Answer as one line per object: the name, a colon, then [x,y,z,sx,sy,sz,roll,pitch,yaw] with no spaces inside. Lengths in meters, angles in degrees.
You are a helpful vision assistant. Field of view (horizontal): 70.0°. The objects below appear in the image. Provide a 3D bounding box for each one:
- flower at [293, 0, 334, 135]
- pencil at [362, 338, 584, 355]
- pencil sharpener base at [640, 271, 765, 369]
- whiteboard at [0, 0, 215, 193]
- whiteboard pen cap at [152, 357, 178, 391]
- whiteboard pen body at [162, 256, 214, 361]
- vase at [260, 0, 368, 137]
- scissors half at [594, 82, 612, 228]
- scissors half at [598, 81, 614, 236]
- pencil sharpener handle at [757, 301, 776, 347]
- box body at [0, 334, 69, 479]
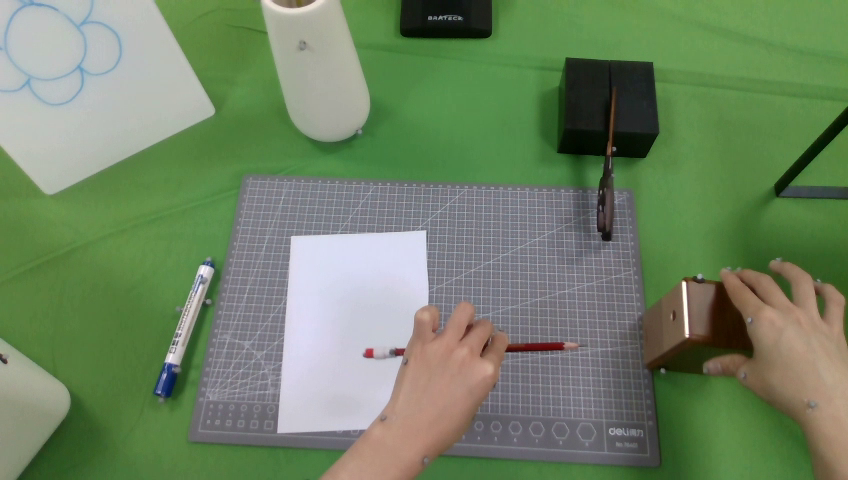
flower: [-0.126,-0.247,0.583,0.044,0.365,0.038,-4,48,3]
pencil: [0.039,0.091,0.527,0.194,0.012,0.012,-4,65,11]
pencil sharpener base: [0.258,0.079,0.569,0.077,0.108,0.061,7,65,1]
whiteboard: [-0.410,-0.246,0.654,0.217,0.309,0.142,-30,49,-11]
whiteboard pen cap: [-0.256,0.133,0.602,0.018,0.018,0.033,8,62,5]
whiteboard pen body: [-0.247,0.080,0.627,0.017,0.017,0.140,9,64,6]
vase: [-0.118,-0.200,0.653,0.098,0.201,0.097,-1,64,2]
scissors half: [0.194,-0.095,0.646,0.013,0.040,0.174,2,67,22]
scissors half: [0.203,-0.090,0.663,0.012,0.040,0.175,1,84,28]
pencil sharpener handle: [0.309,0.081,0.557,0.030,0.068,0.035,7,60,1]
box body: [-0.548,0.135,0.530,0.362,0.161,0.253,28,69,13]
